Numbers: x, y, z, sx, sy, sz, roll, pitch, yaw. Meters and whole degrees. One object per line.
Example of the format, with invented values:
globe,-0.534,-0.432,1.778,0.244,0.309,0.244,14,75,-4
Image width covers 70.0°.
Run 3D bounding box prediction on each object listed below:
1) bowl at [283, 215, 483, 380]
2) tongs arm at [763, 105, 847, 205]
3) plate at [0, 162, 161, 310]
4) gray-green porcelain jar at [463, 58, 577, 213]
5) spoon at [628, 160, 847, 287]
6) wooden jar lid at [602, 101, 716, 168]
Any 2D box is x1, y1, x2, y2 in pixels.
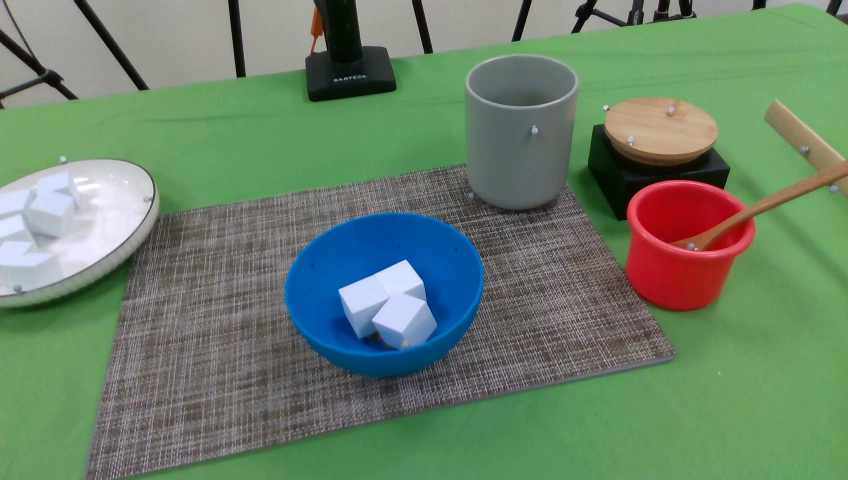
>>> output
bowl,-0.028,0.057,0.479,0.151,0.077,0.150,-2,42,2
tongs arm,0.397,-0.001,0.486,0.028,0.028,0.383,-6,44,-12
plate,-0.368,-0.004,0.609,0.209,0.038,0.207,-3,42,3
gray-green porcelain jar,0.093,-0.099,0.604,0.106,0.128,0.105,-2,42,3
spoon,0.253,-0.012,0.488,0.194,0.022,0.041,-37,29,33
wooden jar lid,0.235,-0.106,0.610,0.108,0.021,0.107,-3,42,3
